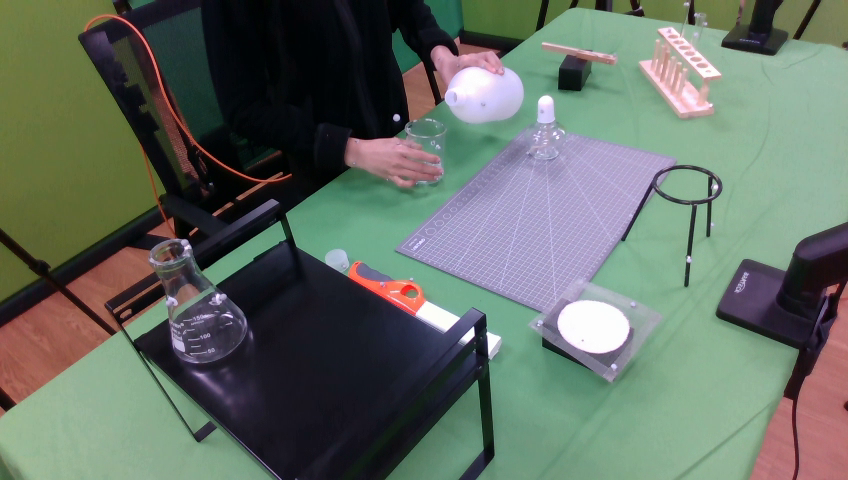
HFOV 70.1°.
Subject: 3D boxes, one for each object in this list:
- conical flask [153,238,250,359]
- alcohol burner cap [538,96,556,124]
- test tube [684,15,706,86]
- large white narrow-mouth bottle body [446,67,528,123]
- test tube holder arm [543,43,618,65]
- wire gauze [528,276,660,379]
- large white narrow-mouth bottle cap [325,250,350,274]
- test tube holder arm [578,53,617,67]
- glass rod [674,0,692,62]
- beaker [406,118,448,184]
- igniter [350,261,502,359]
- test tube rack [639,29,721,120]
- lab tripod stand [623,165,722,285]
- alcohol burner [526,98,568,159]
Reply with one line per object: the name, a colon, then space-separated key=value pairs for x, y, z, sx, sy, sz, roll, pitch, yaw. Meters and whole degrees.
conical flask: x=-0.225 y=0.055 z=0.597 sx=0.075 sy=0.122 sz=0.075 roll=-5 pitch=41 yaw=4
alcohol burner cap: x=0.222 y=-0.237 z=1.095 sx=0.034 sy=0.048 sz=0.033 roll=-7 pitch=35 yaw=5
test tube: x=0.541 y=-0.378 z=1.215 sx=0.017 sy=0.151 sz=0.017 roll=-2 pitch=44 yaw=3
large white narrow-mouth bottle body: x=0.107 y=-0.268 z=1.122 sx=0.101 sy=0.102 sz=0.196 roll=23 pitch=27 yaw=32
test tube holder arm: x=0.344 y=-0.413 z=1.340 sx=0.177 sy=0.015 sz=0.013 roll=25 pitch=51 yaw=31
wire gauze: x=0.213 y=0.103 z=0.763 sx=0.124 sy=0.011 sz=0.122 roll=30 pitch=52 yaw=35
large white narrow-mouth bottle cap: x=-0.138 y=0.035 z=0.965 sx=0.038 sy=0.024 sz=0.037 roll=-4 pitch=41 yaw=4
test tube holder arm: x=0.376 y=-0.393 z=1.314 sx=0.087 sy=0.015 sz=0.010 roll=26 pitch=51 yaw=32
glass rod: x=0.536 y=-0.437 z=1.257 sx=0.008 sy=0.200 sz=0.008 roll=0 pitch=39 yaw=1
beaker: x=0.007 y=-0.160 z=1.093 sx=0.073 sy=0.100 sz=0.084 roll=25 pitch=43 yaw=28
igniter: x=-0.009 y=0.094 z=0.870 sx=0.274 sy=0.025 sz=0.057 roll=25 pitch=61 yaw=33
test tube rack: x=0.527 y=-0.351 z=1.262 sx=0.067 sy=0.085 sz=0.241 roll=-8 pitch=40 yaw=1
lab tripod stand: x=0.365 y=-0.030 z=0.874 sx=0.148 sy=0.132 sz=0.147 roll=-6 pitch=41 yaw=6
alcohol burner: x=0.228 y=-0.210 z=1.118 sx=0.078 sy=0.119 sz=0.077 roll=-5 pitch=43 yaw=5
